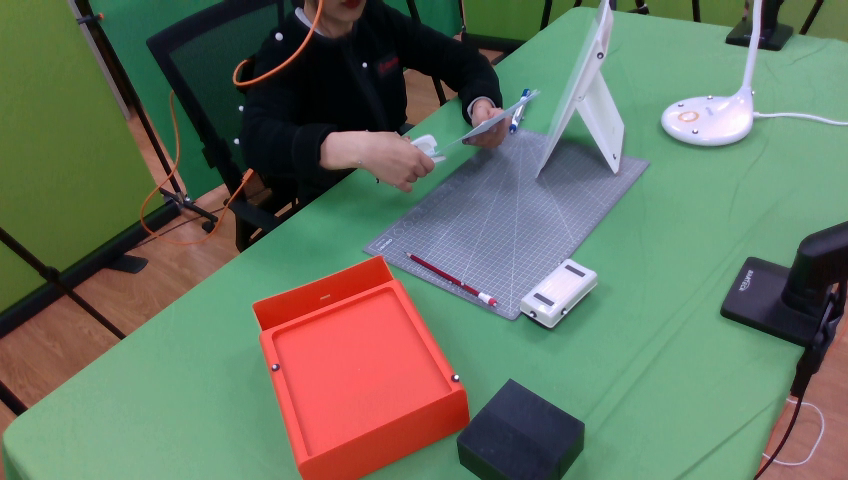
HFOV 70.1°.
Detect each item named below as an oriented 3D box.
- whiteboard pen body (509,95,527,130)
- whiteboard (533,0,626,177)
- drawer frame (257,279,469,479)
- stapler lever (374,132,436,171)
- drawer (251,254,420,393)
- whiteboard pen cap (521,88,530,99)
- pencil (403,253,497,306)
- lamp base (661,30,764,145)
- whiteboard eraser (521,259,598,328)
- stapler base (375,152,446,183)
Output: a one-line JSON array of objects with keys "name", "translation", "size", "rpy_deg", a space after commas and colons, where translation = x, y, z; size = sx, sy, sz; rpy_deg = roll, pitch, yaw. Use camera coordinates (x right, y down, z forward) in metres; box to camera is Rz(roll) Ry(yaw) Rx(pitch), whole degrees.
[{"name": "whiteboard pen body", "translation": [0.199, -0.273, 1.262], "size": [0.017, 0.017, 0.140], "rpy_deg": [8, 44, 19]}, {"name": "whiteboard", "translation": [0.321, -0.258, 1.050], "size": [0.144, 0.306, 0.217], "rpy_deg": [21, 45, 5]}, {"name": "drawer frame", "translation": [-0.080, 0.169, 0.751], "size": [0.202, 0.083, 0.211], "rpy_deg": [-21, 42, -15]}, {"name": "stapler lever", "translation": [-0.032, -0.150, 1.020], "size": [0.118, 0.040, 0.026], "rpy_deg": [-22, 6, -25]}, {"name": "drawer", "translation": [-0.106, 0.134, 0.798], "size": [0.195, 0.073, 0.210], "rpy_deg": [-20, 42, -14]}, {"name": "whiteboard pen cap", "translation": [0.219, -0.312, 1.301], "size": [0.018, 0.018, 0.033], "rpy_deg": [6, 47, 17]}, {"name": "pencil", "translation": [0.034, 0.056, 0.914], "size": [0.192, 0.012, 0.012], "rpy_deg": [27, 52, 38]}, {"name": "lamp base", "translation": [0.535, -0.287, 1.096], "size": [0.179, 0.181, 0.159], "rpy_deg": [-10, 40, -4]}, {"name": "whiteboard eraser", "translation": [0.189, 0.076, 0.843], "size": [0.055, 0.042, 0.113], "rpy_deg": [29, 53, 37]}, {"name": "stapler base", "translation": [-0.024, -0.130, 1.025], "size": [0.131, 0.024, 0.041], "rpy_deg": [-25, 7, -25]}]
